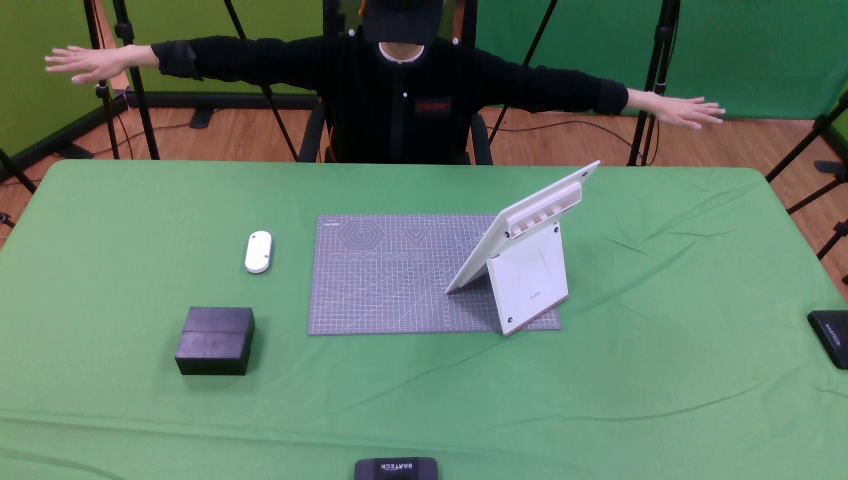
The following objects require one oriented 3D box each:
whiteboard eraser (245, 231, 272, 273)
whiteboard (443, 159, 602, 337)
[{"bbox_3d":[-0.315,0.023,1.156,0.041,0.019,0.100,-1,45,-4],"label":"whiteboard eraser"},{"bbox_3d":[0.193,0.036,1.018,0.217,0.306,0.143,-26,72,-26],"label":"whiteboard"}]
